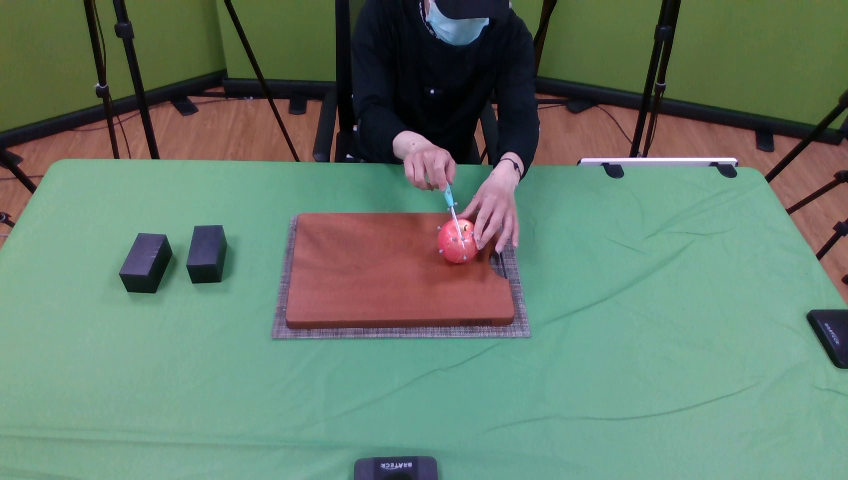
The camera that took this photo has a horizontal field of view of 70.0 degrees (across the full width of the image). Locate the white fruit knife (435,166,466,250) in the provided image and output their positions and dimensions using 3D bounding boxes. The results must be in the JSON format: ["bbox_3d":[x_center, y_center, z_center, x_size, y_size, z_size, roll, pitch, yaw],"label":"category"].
[{"bbox_3d":[0.050,-0.064,1.110,0.016,0.027,0.206,-11,53,-7],"label":"white fruit knife"}]

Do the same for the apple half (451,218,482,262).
[{"bbox_3d":[0.078,0.001,1.123,0.053,0.075,0.080,-5,43,-18],"label":"apple half"}]

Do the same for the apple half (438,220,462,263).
[{"bbox_3d":[0.042,0.006,1.112,0.033,0.081,0.080,-4,46,-19],"label":"apple half"}]
